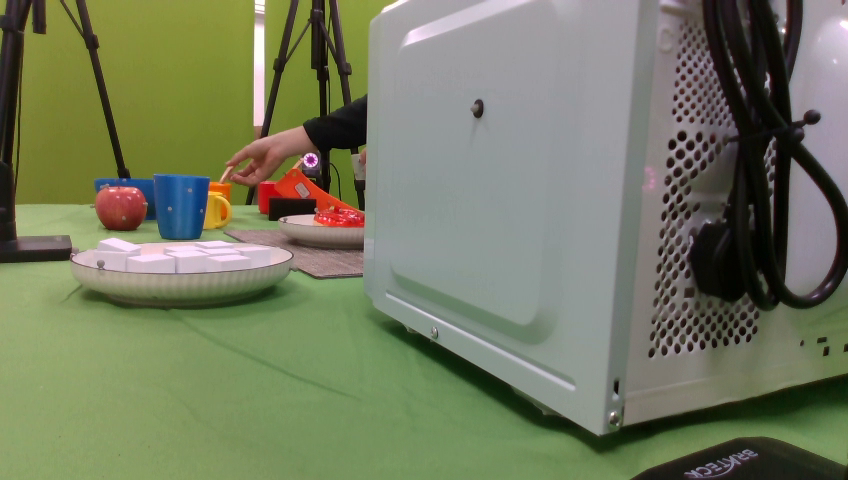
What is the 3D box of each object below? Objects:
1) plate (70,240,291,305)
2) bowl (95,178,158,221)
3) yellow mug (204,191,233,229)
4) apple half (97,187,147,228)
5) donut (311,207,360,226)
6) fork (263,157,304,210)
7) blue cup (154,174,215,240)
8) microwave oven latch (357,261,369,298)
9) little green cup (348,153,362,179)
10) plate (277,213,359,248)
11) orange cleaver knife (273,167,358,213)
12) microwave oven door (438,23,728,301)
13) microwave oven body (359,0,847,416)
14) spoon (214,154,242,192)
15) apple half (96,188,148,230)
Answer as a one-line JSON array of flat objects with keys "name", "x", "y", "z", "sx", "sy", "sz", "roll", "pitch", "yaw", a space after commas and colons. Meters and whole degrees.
[{"name": "plate", "x": -0.242, "y": 0.031, "z": 0.618, "sx": 0.208, "sy": 0.039, "sz": 0.207, "roll": 2, "pitch": 8, "yaw": 0}, {"name": "bowl", "x": -0.576, "y": -0.081, "z": 1.217, "sx": 0.151, "sy": 0.077, "sz": 0.151, "roll": 3, "pitch": 8, "yaw": 0}, {"name": "yellow mug", "x": -0.415, "y": -0.057, "z": 1.131, "sx": 0.130, "sy": 0.064, "sz": 0.100, "roll": 6, "pitch": 7, "yaw": 16}, {"name": "apple half", "x": -0.534, "y": -0.059, "z": 1.071, "sx": 0.082, "sy": 0.081, "sz": 0.032, "roll": -1, "pitch": 11, "yaw": -25}, {"name": "donut", "x": -0.137, "y": -0.029, "z": 0.995, "sx": 0.099, "sy": 0.048, "sz": 0.099, "roll": 4, "pitch": 8, "yaw": 0}, {"name": "fork", "x": -0.345, "y": -0.143, "z": 1.505, "sx": 0.028, "sy": 0.019, "sz": 0.207, "roll": -6, "pitch": 45, "yaw": 29}, {"name": "blue cup", "x": -0.391, "y": -0.053, "z": 0.978, "sx": 0.093, "sy": 0.100, "sz": 0.092, "roll": 4, "pitch": 6, "yaw": 0}, {"name": "microwave oven latch", "x": -0.019, "y": 0.033, "z": 0.530, "sx": 0.079, "sy": 0.029, "sz": 0.030, "roll": 0, "pitch": 7, "yaw": -25}, {"name": "little green cup", "x": -0.082, "y": -0.117, "z": 0.923, "sx": 0.061, "sy": 0.038, "sz": 0.061, "roll": -11, "pitch": 9, "yaw": 2}, {"name": "plate", "x": -0.134, "y": -0.017, "z": 0.992, "sx": 0.209, "sy": 0.038, "sz": 0.209, "roll": 3, "pitch": 8, "yaw": 0}, {"name": "orange cleaver knife", "x": -0.238, "y": -0.091, "z": 1.381, "sx": 0.212, "sy": 0.077, "sz": 0.012, "roll": 30, "pitch": 1, "yaw": -19}, {"name": "microwave oven door", "x": 0.181, "y": -0.072, "z": 0.620, "sx": 0.358, "sy": 0.243, "sz": 0.039, "roll": -2, "pitch": 8, "yaw": -29}, {"name": "microwave oven body", "x": 0.211, "y": -0.047, "z": 0.474, "sx": 0.444, "sy": 0.260, "sz": 0.324, "roll": -1, "pitch": 7, "yaw": -28}, {"name": "spoon", "x": -0.439, "y": -0.124, "z": 1.318, "sx": 0.041, "sy": 0.193, "sz": 0.022, "roll": 6, "pitch": -36, "yaw": 16}, {"name": "apple half", "x": -0.517, "y": -0.052, "z": 1.036, "sx": 0.081, "sy": 0.074, "sz": 0.053, "roll": 3, "pitch": 10, "yaw": -26}]
